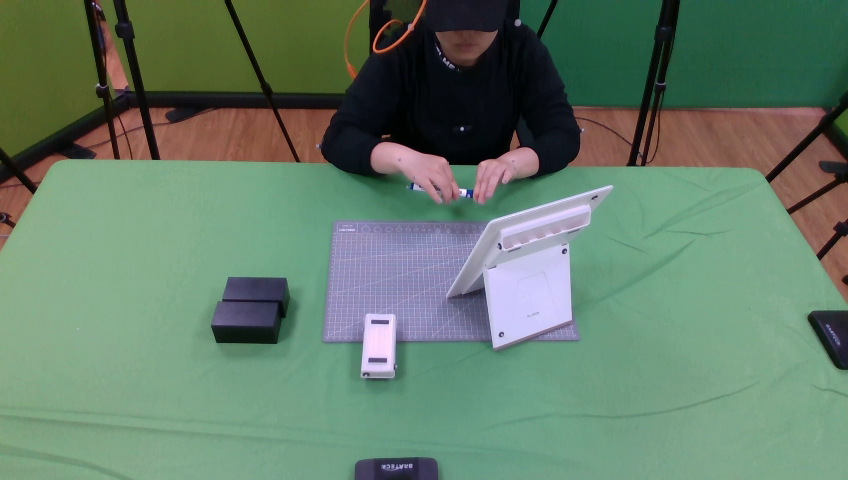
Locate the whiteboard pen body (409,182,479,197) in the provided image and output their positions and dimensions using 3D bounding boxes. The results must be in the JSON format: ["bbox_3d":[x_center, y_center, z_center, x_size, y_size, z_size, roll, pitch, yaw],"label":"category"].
[{"bbox_3d":[0.041,-0.100,1.217,0.141,0.017,0.017,8,46,-4],"label":"whiteboard pen body"}]

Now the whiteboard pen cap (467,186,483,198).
[{"bbox_3d":[0.103,-0.096,1.220,0.033,0.018,0.018,-27,53,-35],"label":"whiteboard pen cap"}]

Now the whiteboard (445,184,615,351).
[{"bbox_3d":[0.187,0.065,0.989,0.217,0.306,0.143,-15,68,-18],"label":"whiteboard"}]

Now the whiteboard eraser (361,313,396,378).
[{"bbox_3d":[-0.075,0.176,1.006,0.055,0.042,0.112,3,50,-4],"label":"whiteboard eraser"}]
